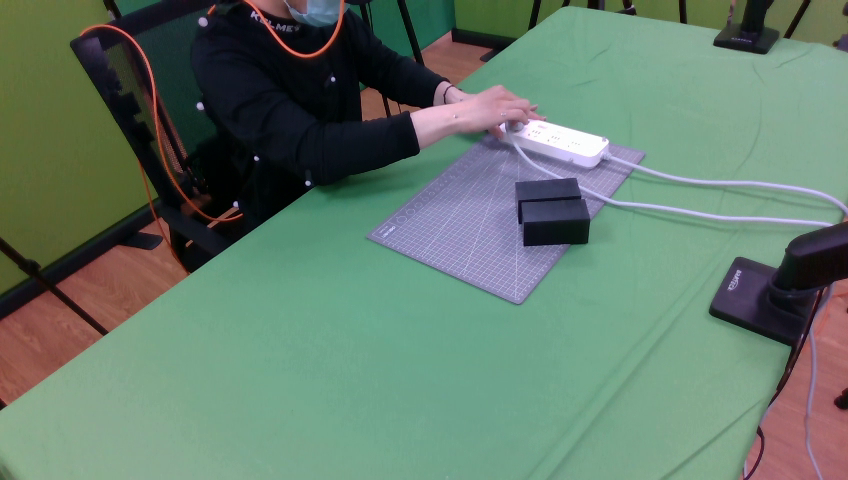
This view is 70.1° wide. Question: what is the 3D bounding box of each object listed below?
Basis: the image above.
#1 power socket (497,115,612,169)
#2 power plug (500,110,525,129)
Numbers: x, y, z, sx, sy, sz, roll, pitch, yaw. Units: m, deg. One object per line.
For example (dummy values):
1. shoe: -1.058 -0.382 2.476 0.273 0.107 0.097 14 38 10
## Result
1. power socket: 0.240 -0.189 1.141 0.225 0.033 0.072 25 50 31
2. power plug: 0.161 -0.219 1.149 0.073 0.053 0.035 -28 45 -27
